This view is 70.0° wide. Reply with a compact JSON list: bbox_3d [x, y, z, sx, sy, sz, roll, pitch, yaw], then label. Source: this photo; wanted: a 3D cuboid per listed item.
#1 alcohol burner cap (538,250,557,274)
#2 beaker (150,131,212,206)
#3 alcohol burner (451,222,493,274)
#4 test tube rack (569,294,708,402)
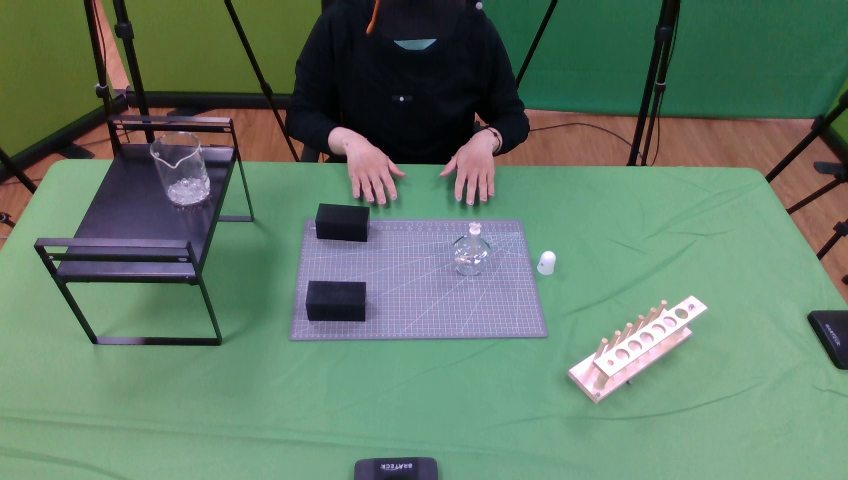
[{"bbox_3d":[0.238,0.039,1.159,0.034,0.048,0.033,3,46,-3],"label":"alcohol burner cap"},{"bbox_3d":[-0.385,-0.110,0.969,0.074,0.101,0.083,-6,48,-9],"label":"beaker"},{"bbox_3d":[0.091,0.008,1.124,0.078,0.119,0.077,2,48,-2],"label":"alcohol burner"},{"bbox_3d":[0.360,0.167,1.015,0.242,0.085,0.066,-25,52,-25],"label":"test tube rack"}]
